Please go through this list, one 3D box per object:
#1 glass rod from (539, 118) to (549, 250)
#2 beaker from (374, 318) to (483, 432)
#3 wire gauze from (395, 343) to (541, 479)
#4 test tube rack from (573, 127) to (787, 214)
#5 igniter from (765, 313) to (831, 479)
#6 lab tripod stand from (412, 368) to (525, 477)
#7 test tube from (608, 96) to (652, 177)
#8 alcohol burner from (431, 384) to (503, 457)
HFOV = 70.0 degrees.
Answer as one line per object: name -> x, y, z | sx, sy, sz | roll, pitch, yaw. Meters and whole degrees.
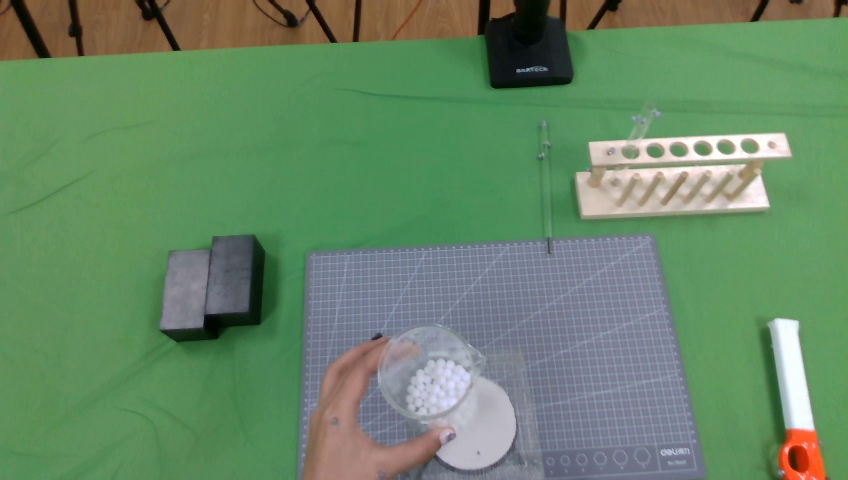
glass rod -> 0.161, -0.078, 0.812 | 0.008, 0.008, 0.198 | 2, 68, 1
beaker -> 0.009, 0.114, 0.496 | 0.084, 0.101, 0.073 | -12, 63, 2
wire gauze -> 0.040, 0.161, 0.567 | 0.125, 0.011, 0.120 | -6, 65, -2
test tube rack -> 0.322, -0.087, 0.773 | 0.242, 0.086, 0.066 | -3, 66, 0
igniter -> 0.416, 0.216, 0.673 | 0.057, 0.025, 0.274 | 8, 67, -7
lab tripod stand -> 0.042, 0.191, 0.628 | 0.148, 0.132, 0.147 | -1, 66, 2
test tube -> 0.247, -0.121, 0.735 | 0.017, 0.151, 0.017 | -1, 63, 2
alcohol burner -> 0.046, 0.188, 0.640 | 0.078, 0.120, 0.077 | 0, 65, 0
